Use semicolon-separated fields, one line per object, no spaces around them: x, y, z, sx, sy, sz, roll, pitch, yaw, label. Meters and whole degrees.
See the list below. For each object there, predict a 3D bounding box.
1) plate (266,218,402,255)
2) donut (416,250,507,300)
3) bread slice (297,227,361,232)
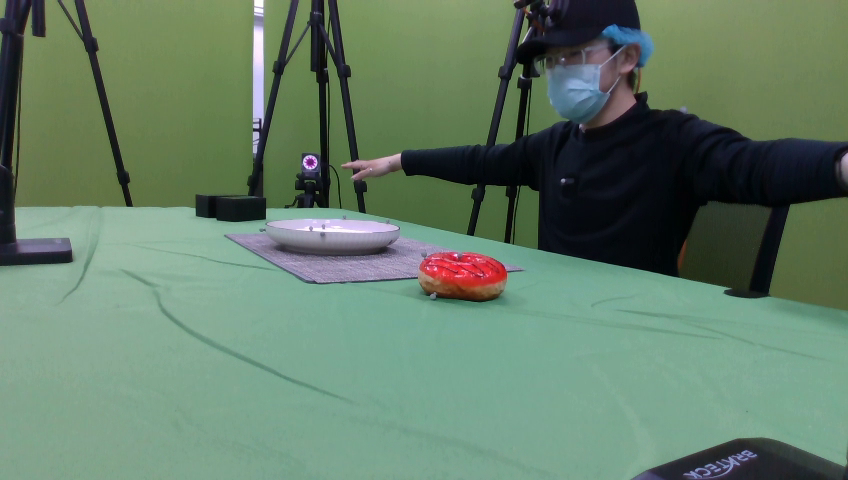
-0.138;-0.006;0.941;0.208;0.039;0.207;2;7;0;plate
0.040;0.038;0.650;0.099;0.048;0.099;4;9;0;donut
-0.142;-0.005;0.939;0.131;0.019;0.105;8;8;33;bread slice
